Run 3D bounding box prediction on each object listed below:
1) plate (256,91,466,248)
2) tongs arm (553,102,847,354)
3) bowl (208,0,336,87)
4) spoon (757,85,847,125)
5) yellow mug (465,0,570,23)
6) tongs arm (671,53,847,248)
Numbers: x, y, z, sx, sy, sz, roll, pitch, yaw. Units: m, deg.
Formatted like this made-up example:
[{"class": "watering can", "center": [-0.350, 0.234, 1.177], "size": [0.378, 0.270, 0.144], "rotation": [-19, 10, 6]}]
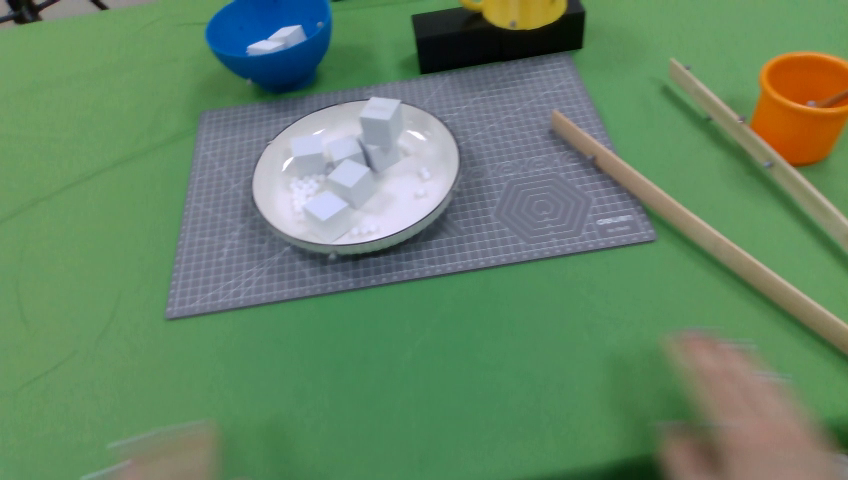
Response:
[{"class": "plate", "center": [-0.061, -0.070, 0.607], "size": [0.207, 0.039, 0.205], "rotation": [-4, 51, 5]}, {"class": "tongs arm", "center": [0.247, -0.017, 0.534], "size": [0.028, 0.028, 0.383], "rotation": [-29, 55, -20]}, {"class": "bowl", "center": [-0.174, -0.241, 0.736], "size": [0.151, 0.077, 0.150], "rotation": [-4, 51, 5]}, {"class": "spoon", "center": [0.389, -0.135, 0.533], "size": [0.041, 0.193, 0.022], "rotation": [-43, 102, -26]}, {"class": "yellow mug", "center": [0.102, -0.301, 0.691], "size": [0.131, 0.064, 0.099], "rotation": [-6, 51, 4]}, {"class": "tongs arm", "center": [0.320, -0.050, 0.548], "size": [0.051, 0.027, 0.380], "rotation": [-20, 53, -9]}]
